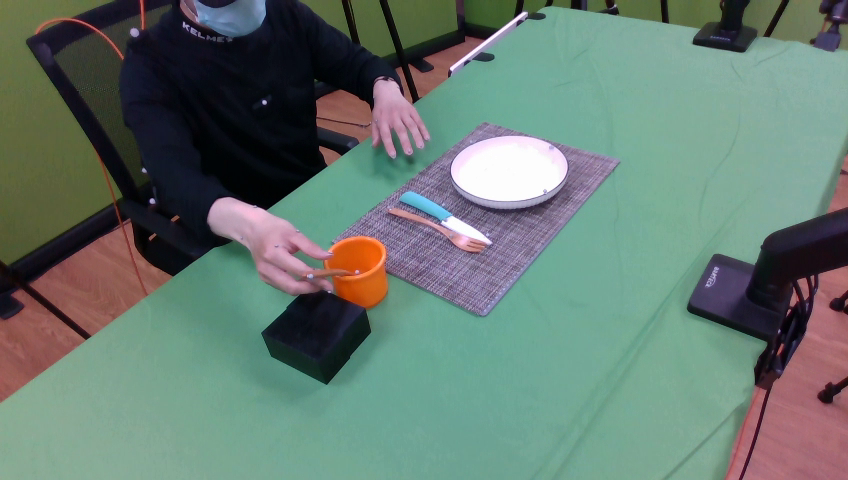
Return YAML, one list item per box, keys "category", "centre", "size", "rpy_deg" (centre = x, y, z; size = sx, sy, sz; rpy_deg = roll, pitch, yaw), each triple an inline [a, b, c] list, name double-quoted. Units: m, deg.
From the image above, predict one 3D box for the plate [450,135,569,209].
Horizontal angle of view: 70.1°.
- category: "plate"
  centre: [0.149, -0.117, 1.066]
  size: [0.209, 0.038, 0.208]
  rpy_deg: [-4, 41, 4]

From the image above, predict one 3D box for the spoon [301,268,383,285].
- category: "spoon"
  centre: [-0.112, 0.048, 0.831]
  size: [0.041, 0.195, 0.021]
  rpy_deg: [18, 90, 24]

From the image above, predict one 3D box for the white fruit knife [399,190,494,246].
- category: "white fruit knife"
  centre: [0.036, -0.038, 1.009]
  size: [0.205, 0.016, 0.027]
  rpy_deg: [32, 84, 34]

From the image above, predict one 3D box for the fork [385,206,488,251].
- category: "fork"
  centre: [0.015, -0.021, 0.988]
  size: [0.206, 0.019, 0.028]
  rpy_deg: [24, 61, 30]
